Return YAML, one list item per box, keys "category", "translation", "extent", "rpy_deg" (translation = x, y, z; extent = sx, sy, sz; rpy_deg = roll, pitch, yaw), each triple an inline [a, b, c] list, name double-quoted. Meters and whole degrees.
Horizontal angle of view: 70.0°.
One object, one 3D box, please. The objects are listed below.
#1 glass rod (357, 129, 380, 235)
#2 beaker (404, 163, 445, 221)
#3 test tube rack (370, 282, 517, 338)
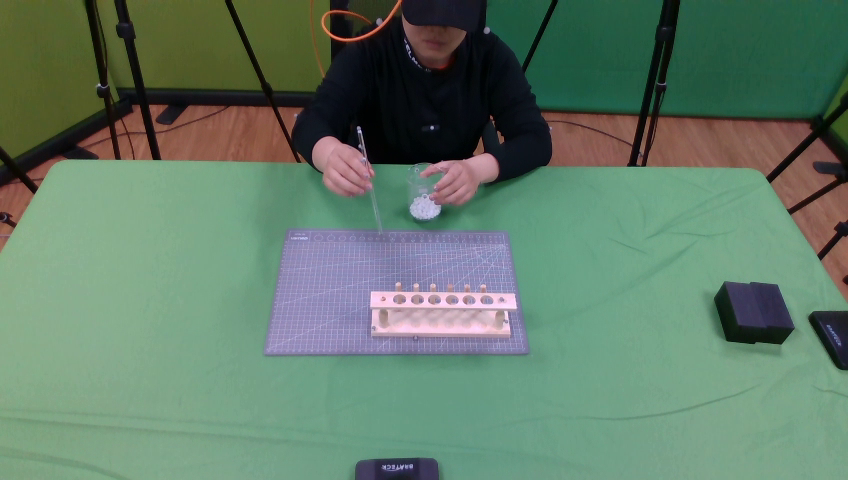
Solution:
- category: "glass rod"
  translation: [-0.091, -0.091, 1.004]
  extent: [0.008, 0.201, 0.008]
  rpy_deg: [-5, 35, 4]
- category: "beaker"
  translation: [0.003, -0.095, 1.223]
  extent: [0.084, 0.101, 0.073]
  rpy_deg: [-15, 48, -13]
- category: "test tube rack"
  translation: [0.030, 0.116, 1.041]
  extent: [0.242, 0.085, 0.066]
  rpy_deg: [1, 46, -3]
